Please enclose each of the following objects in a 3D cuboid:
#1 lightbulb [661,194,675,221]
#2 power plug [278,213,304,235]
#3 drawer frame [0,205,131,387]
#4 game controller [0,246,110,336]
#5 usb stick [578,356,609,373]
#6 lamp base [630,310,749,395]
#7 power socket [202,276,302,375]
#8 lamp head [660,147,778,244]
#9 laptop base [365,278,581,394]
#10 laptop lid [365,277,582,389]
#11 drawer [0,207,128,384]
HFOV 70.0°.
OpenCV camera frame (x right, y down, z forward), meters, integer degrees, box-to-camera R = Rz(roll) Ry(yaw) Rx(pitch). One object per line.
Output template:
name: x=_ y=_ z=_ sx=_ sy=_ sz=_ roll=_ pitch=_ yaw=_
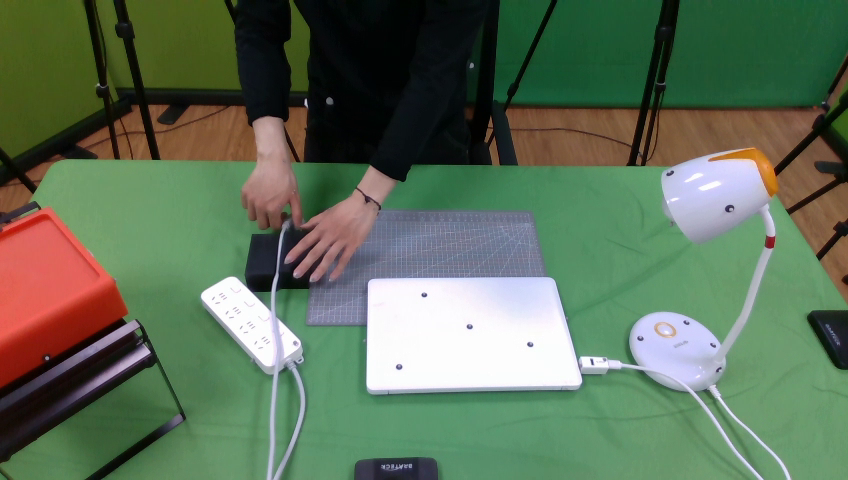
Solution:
lightbulb: x=0.370 y=-0.060 z=0.807 sx=0.060 sy=0.107 sz=0.059 roll=19 pitch=59 yaw=-36
power plug: x=-0.263 y=-0.023 z=1.185 sx=0.035 sy=0.053 sz=0.072 roll=12 pitch=51 yaw=32
drawer frame: x=-0.540 y=0.075 z=0.795 sx=0.200 sy=0.083 sz=0.213 roll=36 pitch=54 yaw=26
game controller: x=-0.511 y=0.062 z=0.830 sx=0.097 sy=0.052 sz=0.154 roll=-30 pitch=58 yaw=-32
usb stick: x=0.274 y=0.207 z=1.008 sx=0.059 sy=0.027 sz=0.021 roll=0 pitch=52 yaw=0
lamp base: x=0.447 y=0.142 z=0.984 sx=0.161 sy=0.181 sz=0.178 roll=-24 pitch=55 yaw=-24
power socket: x=-0.296 y=0.142 z=1.034 sx=0.072 sy=0.033 sz=0.225 roll=-34 pitch=58 yaw=-30
lamp head: x=0.389 y=-0.063 z=0.784 sx=0.123 sy=0.113 sz=0.112 roll=-22 pitch=33 yaw=37
laptop base: x=0.076 y=0.162 z=1.053 sx=0.355 sy=0.023 sz=0.234 roll=0 pitch=44 yaw=-4
laptop lid: x=0.077 y=0.152 z=1.046 sx=0.357 sy=0.013 sz=0.240 roll=1 pitch=45 yaw=-3
drawer: x=-0.540 y=0.074 z=0.798 sx=0.193 sy=0.073 sz=0.211 roll=37 pitch=55 yaw=27
